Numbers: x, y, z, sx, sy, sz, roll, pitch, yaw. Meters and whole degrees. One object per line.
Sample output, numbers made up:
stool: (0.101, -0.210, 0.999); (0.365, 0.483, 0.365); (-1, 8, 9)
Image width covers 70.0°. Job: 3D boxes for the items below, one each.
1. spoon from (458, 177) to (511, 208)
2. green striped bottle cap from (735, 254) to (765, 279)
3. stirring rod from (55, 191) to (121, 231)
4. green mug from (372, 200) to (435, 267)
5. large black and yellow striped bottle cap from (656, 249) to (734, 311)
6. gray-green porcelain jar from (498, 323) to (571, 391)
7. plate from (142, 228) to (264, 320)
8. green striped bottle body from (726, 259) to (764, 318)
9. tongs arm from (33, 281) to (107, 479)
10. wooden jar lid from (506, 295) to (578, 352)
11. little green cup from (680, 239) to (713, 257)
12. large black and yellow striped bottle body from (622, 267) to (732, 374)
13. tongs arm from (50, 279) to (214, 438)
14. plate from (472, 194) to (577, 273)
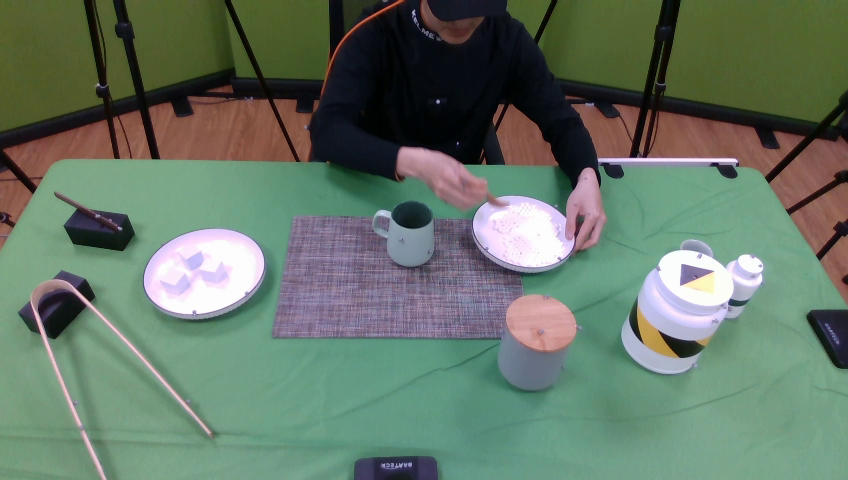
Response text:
spoon: (0.109, -0.087, 1.104); (0.041, 0.195, 0.021); (13, 83, 34)
green striped bottle cap: (0.566, 0.046, 1.051); (0.044, 0.020, 0.044); (0, 45, 0)
stirring rod: (-0.632, -0.055, 1.138); (0.175, 0.014, 0.006); (24, 50, 19)
green mug: (-0.040, -0.016, 1.146); (0.125, 0.105, 0.092); (17, 48, 13)
large black and yellow striped bottle cap: (0.419, 0.061, 0.938); (0.115, 0.019, 0.114); (2, 47, -2)
gray-green porcelain jar: (0.176, 0.172, 0.971); (0.106, 0.127, 0.105); (2, 46, -2)
plate: (-0.394, 0.064, 1.095); (0.208, 0.039, 0.206); (2, 46, -2)
green striped bottle body: (0.563, 0.081, 1.089); (0.063, 0.120, 0.063); (2, 46, -2)
tongs arm: (-0.517, 0.214, 0.910); (0.051, 0.026, 0.383); (-29, 63, -27)
wooden jar lid: (0.179, 0.130, 0.926); (0.108, 0.021, 0.107); (2, 43, -2)
little green cup: (0.530, 0.033, 1.189); (0.061, 0.039, 0.061); (2, 48, -2)
large black and yellow striped bottle body: (0.415, 0.119, 0.997); (0.131, 0.185, 0.130); (2, 46, -2)
tongs arm: (-0.459, 0.178, 0.949); (0.386, 0.028, 0.028); (37, 60, 17)
plate: (0.196, -0.010, 1.205); (0.209, 0.038, 0.208); (4, 46, -4)
